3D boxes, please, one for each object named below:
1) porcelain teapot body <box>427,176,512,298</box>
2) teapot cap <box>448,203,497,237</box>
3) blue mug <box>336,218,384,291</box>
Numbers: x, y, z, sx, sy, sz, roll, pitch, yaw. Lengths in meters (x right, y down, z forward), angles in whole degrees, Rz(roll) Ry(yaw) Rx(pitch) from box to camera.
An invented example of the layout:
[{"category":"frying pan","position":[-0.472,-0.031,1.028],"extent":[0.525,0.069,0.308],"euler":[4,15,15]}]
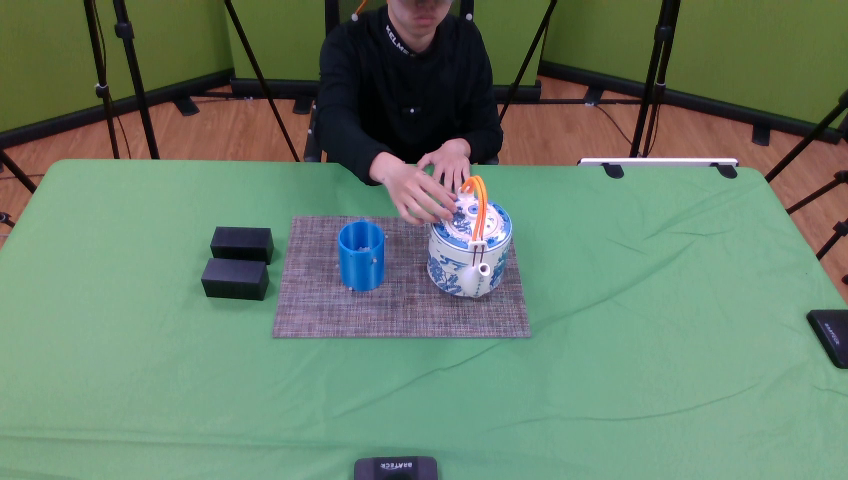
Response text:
[{"category":"porcelain teapot body","position":[0.085,0.009,1.051],"extent":[0.145,0.226,0.204],"euler":[-5,47,-8]},{"category":"teapot cap","position":[0.084,-0.037,1.041],"extent":[0.085,0.044,0.084],"euler":[-1,48,1]},{"category":"blue mug","position":[-0.115,0.018,1.111],"extent":[0.082,0.106,0.116],"euler":[1,46,-3]}]
